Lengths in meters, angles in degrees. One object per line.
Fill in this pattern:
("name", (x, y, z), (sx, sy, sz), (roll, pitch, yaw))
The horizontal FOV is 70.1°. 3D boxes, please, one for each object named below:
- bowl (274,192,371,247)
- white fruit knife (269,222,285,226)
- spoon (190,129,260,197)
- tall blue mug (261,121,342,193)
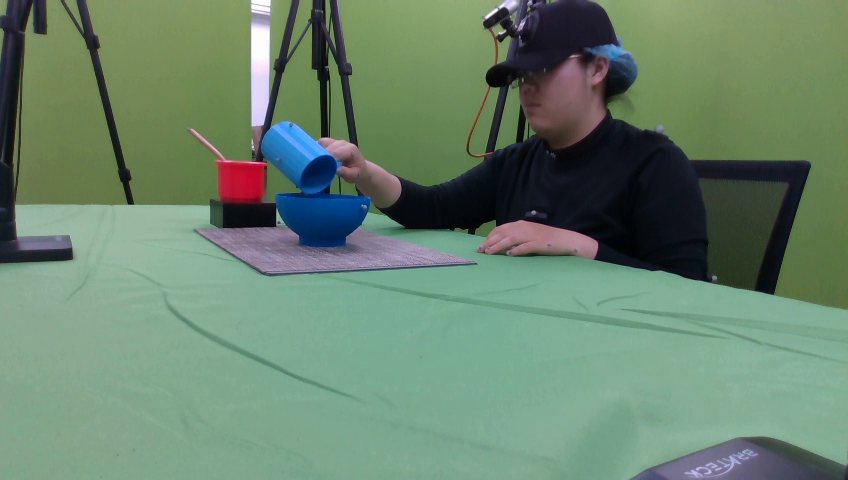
("bowl", (-0.161, -0.033, 0.958), (0.151, 0.077, 0.151), (3, 7, 0))
("white fruit knife", (-0.222, -0.037, 1.261), (0.208, 0.016, 0.027), (-4, -17, -32))
("spoon", (-0.388, -0.150, 1.174), (0.193, 0.021, 0.042), (48, 19, 7))
("tall blue mug", (-0.195, -0.144, 1.003), (0.107, 0.078, 0.107), (-34, 59, -28))
